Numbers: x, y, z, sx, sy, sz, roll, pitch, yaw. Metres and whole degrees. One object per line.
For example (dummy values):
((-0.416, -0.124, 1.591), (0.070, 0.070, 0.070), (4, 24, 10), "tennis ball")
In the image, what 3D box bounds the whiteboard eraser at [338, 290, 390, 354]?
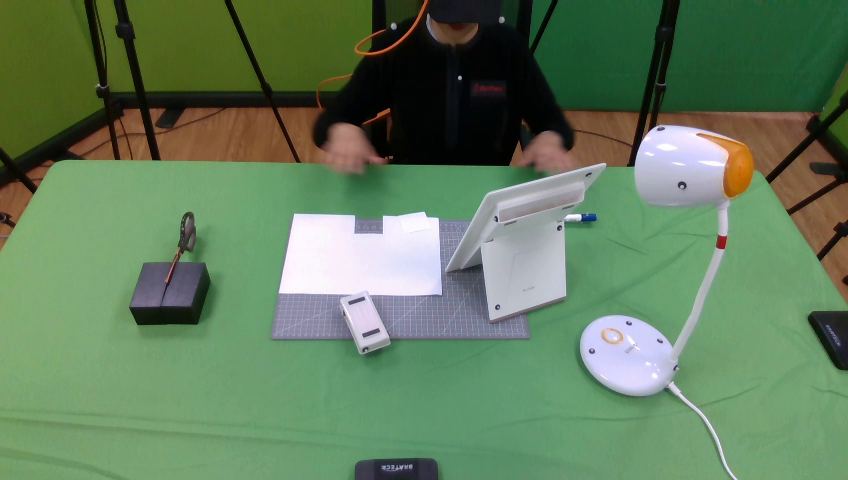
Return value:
((-0.103, 0.141, 1.035), (0.056, 0.042, 0.112), (-15, 49, -19), "whiteboard eraser")

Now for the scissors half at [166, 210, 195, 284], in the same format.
((-0.440, 0.010, 1.094), (0.013, 0.040, 0.174), (8, 49, -9), "scissors half")

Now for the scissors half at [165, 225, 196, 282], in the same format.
((-0.444, 0.026, 1.107), (0.013, 0.040, 0.174), (4, 30, -5), "scissors half")

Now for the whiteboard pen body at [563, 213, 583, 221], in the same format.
((0.283, -0.047, 1.257), (0.141, 0.017, 0.017), (-1, 46, -2), "whiteboard pen body")

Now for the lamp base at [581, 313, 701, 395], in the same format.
((0.361, 0.144, 0.973), (0.178, 0.181, 0.160), (34, 53, 23), "lamp base")

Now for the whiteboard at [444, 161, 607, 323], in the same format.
((0.186, 0.025, 1.029), (0.217, 0.306, 0.143), (-14, 68, -18), "whiteboard")

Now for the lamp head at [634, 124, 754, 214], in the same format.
((0.351, -0.089, 0.776), (0.112, 0.113, 0.122), (-30, 30, -28), "lamp head")

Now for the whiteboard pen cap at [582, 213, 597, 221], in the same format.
((0.342, -0.048, 1.260), (0.033, 0.018, 0.018), (-3, 46, -3), "whiteboard pen cap")
